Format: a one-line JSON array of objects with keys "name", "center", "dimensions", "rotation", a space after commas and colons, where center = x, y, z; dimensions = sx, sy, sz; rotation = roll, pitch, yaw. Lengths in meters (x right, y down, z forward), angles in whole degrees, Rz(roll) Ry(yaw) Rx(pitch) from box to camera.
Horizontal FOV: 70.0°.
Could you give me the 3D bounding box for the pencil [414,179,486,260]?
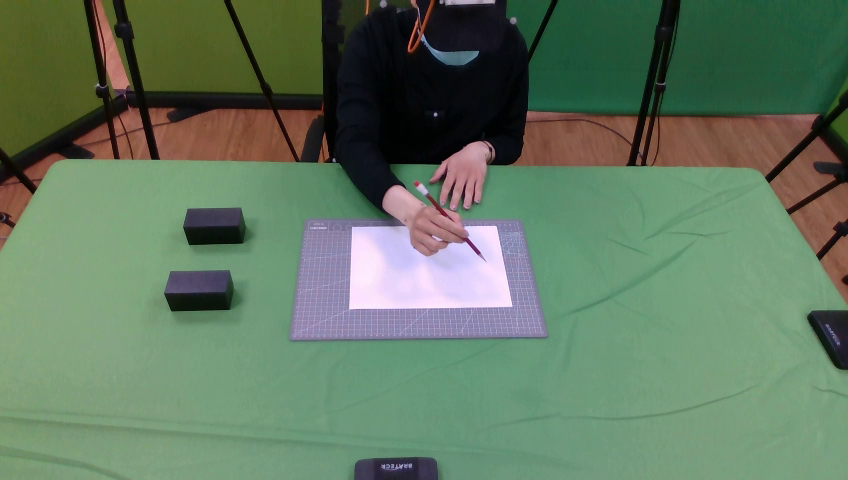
[{"name": "pencil", "center": [0.048, -0.034, 1.068], "dimensions": [0.194, 0.012, 0.012], "rotation": [48, 50, -13]}]
